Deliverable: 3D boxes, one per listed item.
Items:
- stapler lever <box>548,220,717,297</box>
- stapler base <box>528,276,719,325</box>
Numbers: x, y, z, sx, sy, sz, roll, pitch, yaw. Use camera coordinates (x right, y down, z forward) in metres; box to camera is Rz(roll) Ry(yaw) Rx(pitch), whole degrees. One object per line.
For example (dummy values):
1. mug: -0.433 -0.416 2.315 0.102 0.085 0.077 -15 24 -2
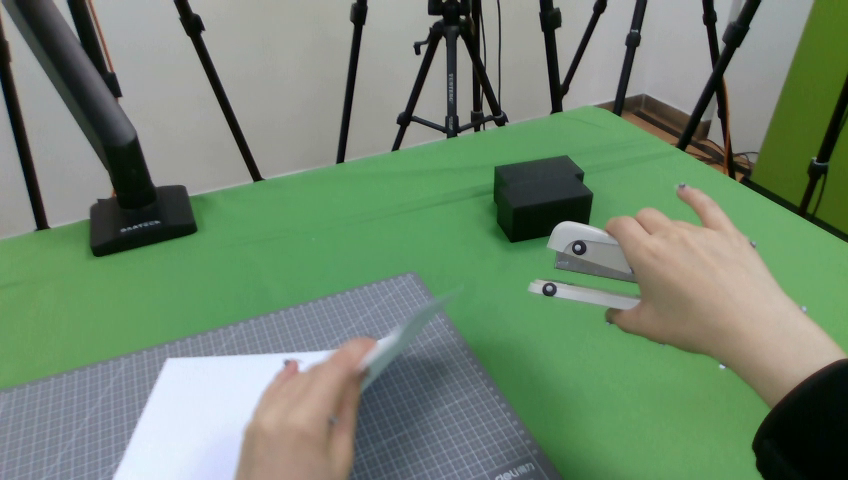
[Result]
1. stapler lever: 0.147 0.012 0.433 0.117 0.040 0.027 10 6 25
2. stapler base: 0.142 0.036 0.434 0.130 0.024 0.041 10 6 24
